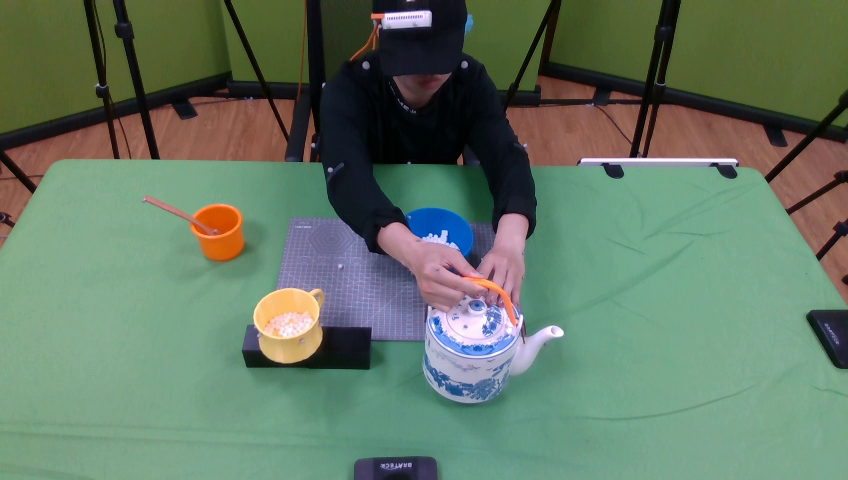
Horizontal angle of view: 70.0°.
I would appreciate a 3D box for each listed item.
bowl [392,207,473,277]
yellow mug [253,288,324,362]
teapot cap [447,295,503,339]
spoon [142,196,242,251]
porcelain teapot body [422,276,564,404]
[{"bbox_3d":[0.015,0.016,1.140,0.151,0.077,0.150,2,46,-2],"label":"bowl"},{"bbox_3d":[-0.205,0.124,0.962,0.099,0.064,0.130,27,49,21],"label":"yellow mug"},{"bbox_3d":[0.077,0.110,0.900,0.085,0.044,0.084,4,43,-4],"label":"teapot cap"},{"bbox_3d":[-0.421,-0.032,1.108,0.021,0.195,0.041,-32,40,28],"label":"spoon"},{"bbox_3d":[0.102,0.144,0.924,0.205,0.226,0.144,10,44,5],"label":"porcelain teapot body"}]
